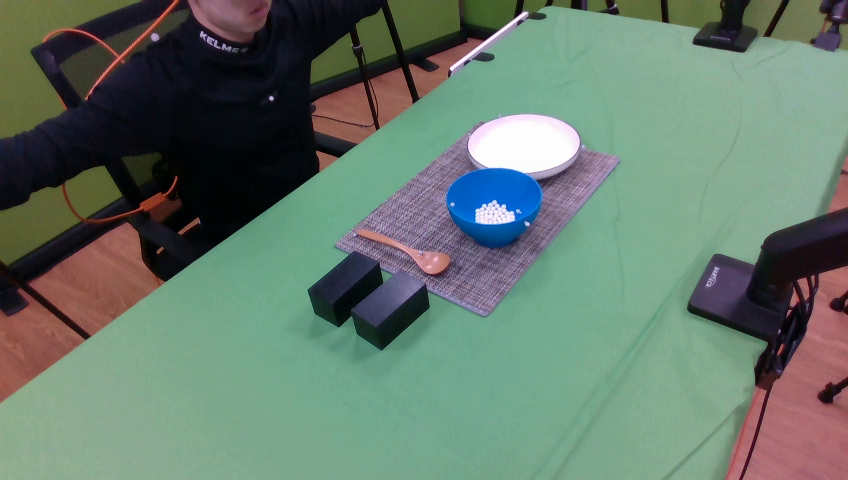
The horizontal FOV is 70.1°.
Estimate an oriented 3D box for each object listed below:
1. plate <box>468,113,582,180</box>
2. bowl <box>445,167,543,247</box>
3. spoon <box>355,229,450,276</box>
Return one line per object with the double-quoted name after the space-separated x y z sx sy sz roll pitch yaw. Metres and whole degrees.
0.186 -0.169 1.122 0.207 0.039 0.206 -4 40 4 "plate"
0.111 -0.041 0.952 0.151 0.077 0.150 -4 41 4 "bowl"
-0.038 0.013 0.953 0.192 0.022 0.041 24 67 31 "spoon"
